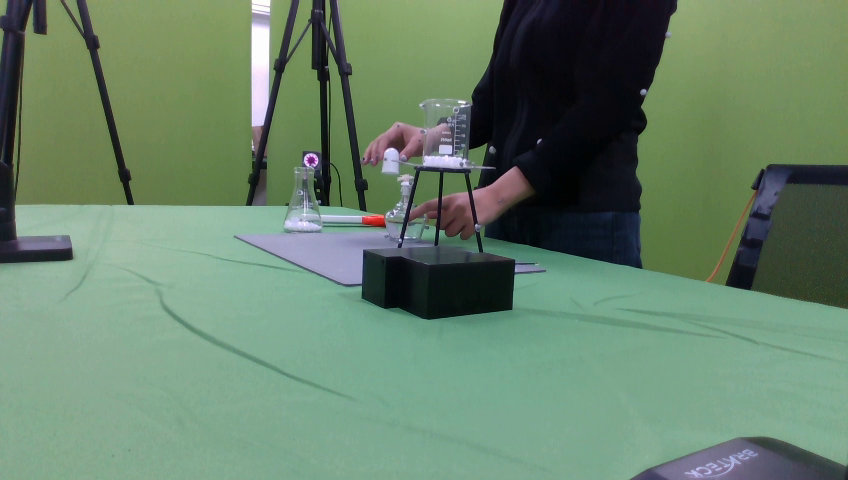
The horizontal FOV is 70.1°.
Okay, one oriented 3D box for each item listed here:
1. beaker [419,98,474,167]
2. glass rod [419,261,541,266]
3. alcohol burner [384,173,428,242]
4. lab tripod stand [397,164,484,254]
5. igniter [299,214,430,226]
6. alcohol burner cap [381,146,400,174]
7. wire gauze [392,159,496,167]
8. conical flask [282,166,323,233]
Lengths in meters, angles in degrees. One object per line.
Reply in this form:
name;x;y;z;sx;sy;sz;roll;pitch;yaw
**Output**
beaker;0.032;-0.161;0.913;0.084;0.100;0.074;1;7;-10
glass rod;0.080;0.031;0.807;0.201;0.008;0.008;1;6;-32
alcohol burner;-0.030;-0.057;1.051;0.078;0.119;0.078;2;10;0
lab tripod stand;0.030;-0.049;0.930;0.148;0.131;0.148;4;6;0
igniter;-0.123;-0.044;1.281;0.278;0.025;0.057;0;-2;-19
alcohol burner cap;-0.059;-0.142;1.070;0.034;0.048;0.034;3;-3;1
wire gauze;0.032;-0.114;0.923;0.124;0.011;0.122;5;5;32
conical flask;-0.225;-0.076;1.129;0.075;0.122;0.075;2;8;0
